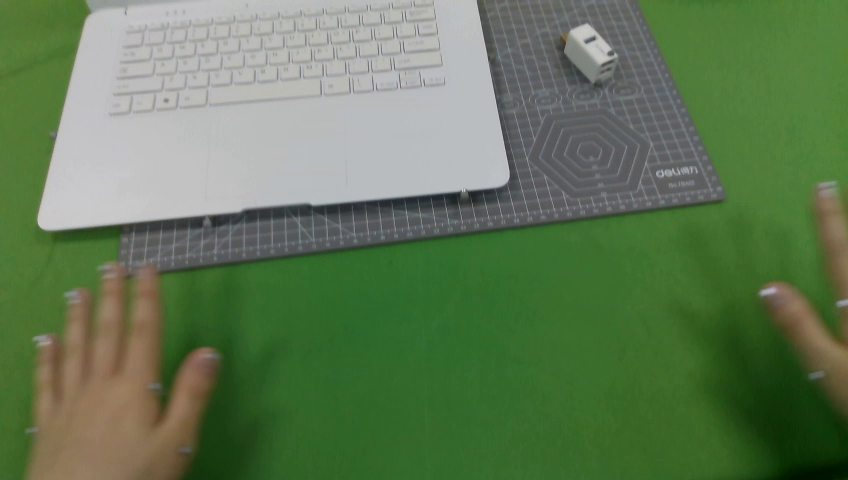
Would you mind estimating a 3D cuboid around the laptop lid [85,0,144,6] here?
[{"bbox_3d":[-0.139,-0.321,0.493,0.357,0.244,0.013,-7,36,-1],"label":"laptop lid"}]

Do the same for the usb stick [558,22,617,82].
[{"bbox_3d":[0.136,-0.165,0.516,0.021,0.027,0.058,-26,61,-12],"label":"usb stick"}]

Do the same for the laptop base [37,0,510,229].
[{"bbox_3d":[-0.120,-0.124,0.505,0.354,0.023,0.233,-6,64,-2],"label":"laptop base"}]
